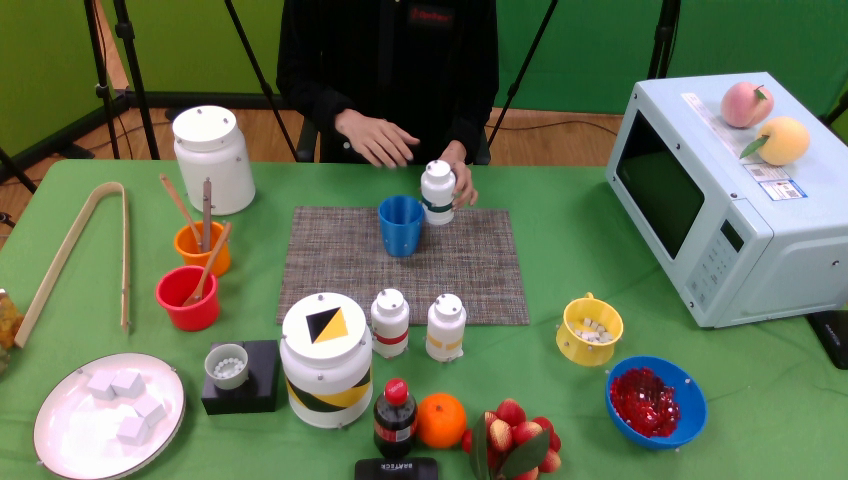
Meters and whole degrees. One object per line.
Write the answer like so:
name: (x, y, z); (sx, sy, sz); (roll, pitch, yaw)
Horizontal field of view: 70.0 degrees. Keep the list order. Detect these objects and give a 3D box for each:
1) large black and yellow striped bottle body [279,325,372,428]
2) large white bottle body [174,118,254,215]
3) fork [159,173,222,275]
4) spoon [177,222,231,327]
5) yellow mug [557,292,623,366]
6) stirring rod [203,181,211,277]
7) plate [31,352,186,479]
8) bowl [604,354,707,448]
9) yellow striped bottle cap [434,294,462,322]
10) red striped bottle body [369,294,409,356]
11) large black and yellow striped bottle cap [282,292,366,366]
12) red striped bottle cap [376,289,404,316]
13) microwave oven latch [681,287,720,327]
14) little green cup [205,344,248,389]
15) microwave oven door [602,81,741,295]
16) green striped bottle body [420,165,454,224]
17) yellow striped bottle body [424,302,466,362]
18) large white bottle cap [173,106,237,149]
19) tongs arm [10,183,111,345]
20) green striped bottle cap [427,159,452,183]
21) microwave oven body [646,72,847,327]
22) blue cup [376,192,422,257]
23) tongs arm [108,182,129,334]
large black and yellow striped bottle body: (-0.143, 0.181, 0.900); (0.131, 0.185, 0.130); (2, 46, -2)
large white bottle body: (-0.415, -0.155, 1.199); (0.131, 0.185, 0.130); (2, 46, -2)
fork: (-0.427, -0.029, 1.103); (0.028, 0.018, 0.207); (-31, 99, -30)
spoon: (-0.369, 0.059, 1.027); (0.041, 0.022, 0.193); (25, 94, 18)
yellow mug: (0.285, 0.145, 1.051); (0.100, 0.064, 0.130); (7, 45, 4)
stirring rod: (-0.396, -0.021, 1.108); (0.014, 0.006, 0.176); (-1, 89, -2)
plate: (-0.459, 0.262, 0.898); (0.209, 0.038, 0.208); (2, 46, -2)
bowl: (0.346, 0.261, 0.937); (0.151, 0.077, 0.150); (2, 46, -2)
yellow striped bottle cap: (0.038, 0.107, 0.958); (0.044, 0.019, 0.044); (2, 45, -2)
red striped bottle body: (-0.059, 0.134, 0.997); (0.063, 0.120, 0.062); (5, 47, -5)
large black and yellow striped bottle cap: (-0.138, 0.121, 0.841); (0.115, 0.019, 0.114); (3, 47, -3)
red striped bottle cap: (-0.054, 0.098, 0.958); (0.044, 0.018, 0.044); (0, 48, 1)
microwave oven latch: (0.494, 0.119, 1.087); (0.030, 0.029, 0.078); (-5, 46, -9)
little green cup: (-0.294, 0.191, 0.909); (0.061, 0.039, 0.061); (1, 47, -1)
microwave oven door: (0.456, -0.107, 1.162); (0.039, 0.245, 0.353); (-7, 47, -11)
green striped bottle body: (0.024, -0.090, 1.114); (0.063, 0.120, 0.063); (-1, 50, 1)
yellow striped bottle body: (0.035, 0.143, 0.995); (0.063, 0.121, 0.062); (3, 46, -3)
large white bottle cap: (-0.411, -0.212, 1.138); (0.115, 0.018, 0.114); (2, 47, -2)
tongs arm: (-0.658, 0.027, 1.109); (0.028, 0.028, 0.385); (-2, 45, 2)
green striped bottle cap: (0.027, -0.123, 1.074); (0.044, 0.020, 0.044); (1, 54, -1)
microwave oven body: (0.607, -0.089, 1.164); (0.326, 0.261, 0.438); (-7, 46, -10)
blue cup: (-0.047, -0.022, 1.156); (0.093, 0.101, 0.092); (1, 47, -1)
tongs arm: (-0.571, 0.019, 1.123); (0.051, 0.026, 0.382); (-10, 47, -12)
